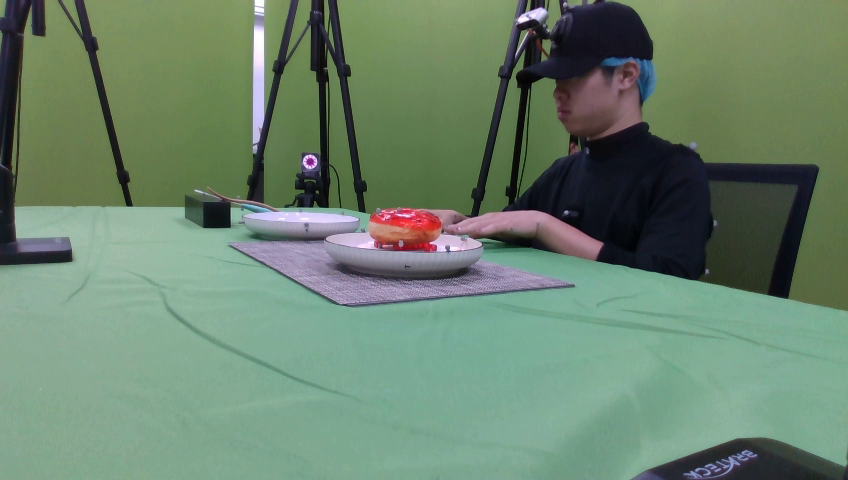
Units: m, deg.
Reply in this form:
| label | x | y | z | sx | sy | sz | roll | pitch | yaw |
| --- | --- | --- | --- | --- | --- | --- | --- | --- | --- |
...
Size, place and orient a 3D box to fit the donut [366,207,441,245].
| label | x | y | z | sx | sy | sz | roll | pitch | yaw |
| --- | --- | --- | --- | --- | --- | --- | --- | --- | --- |
| donut | -0.027 | -0.017 | 0.786 | 0.099 | 0.048 | 0.099 | 3 | 7 | 0 |

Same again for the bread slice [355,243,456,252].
| label | x | y | z | sx | sy | sz | roll | pitch | yaw |
| --- | --- | --- | --- | --- | --- | --- | --- | --- | --- |
| bread slice | -0.027 | 0.020 | 0.794 | 0.131 | 0.019 | 0.105 | 6 | 7 | 17 |

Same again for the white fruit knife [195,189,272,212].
| label | x | y | z | sx | sy | sz | roll | pitch | yaw |
| --- | --- | --- | --- | --- | --- | --- | --- | --- | --- |
| white fruit knife | -0.378 | -0.073 | 1.270 | 0.208 | 0.016 | 0.027 | 18 | -4 | -32 |

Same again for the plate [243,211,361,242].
| label | x | y | z | sx | sy | sz | roll | pitch | yaw |
| --- | --- | --- | --- | --- | --- | --- | --- | --- | --- |
| plate | -0.219 | -0.025 | 1.092 | 0.208 | 0.039 | 0.207 | 3 | 7 | 0 |

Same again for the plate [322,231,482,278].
| label | x | y | z | sx | sy | sz | roll | pitch | yaw |
| --- | --- | --- | --- | --- | --- | --- | --- | --- | --- |
| plate | -0.028 | 0.018 | 0.789 | 0.209 | 0.038 | 0.209 | 3 | 7 | 0 |

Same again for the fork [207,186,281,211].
| label | x | y | z | sx | sy | sz | roll | pitch | yaw |
| --- | --- | --- | --- | --- | --- | --- | --- | --- | --- |
| fork | -0.342 | -0.070 | 1.244 | 0.208 | 0.018 | 0.028 | 18 | -5 | -24 |
